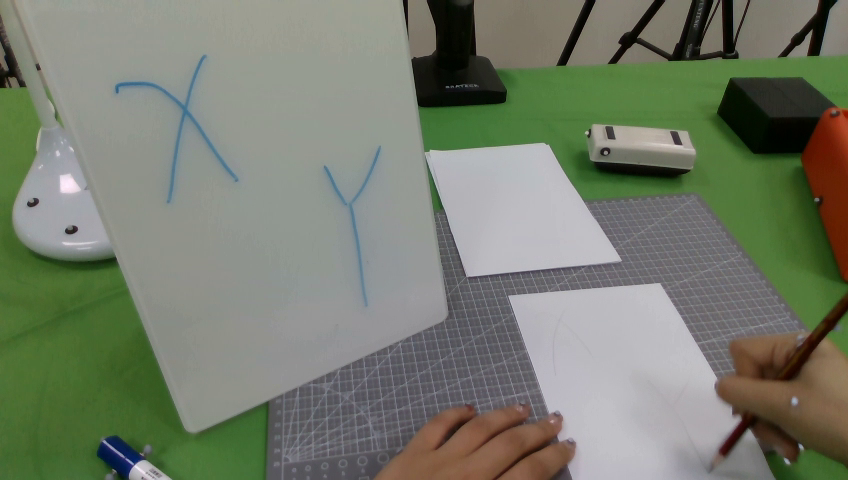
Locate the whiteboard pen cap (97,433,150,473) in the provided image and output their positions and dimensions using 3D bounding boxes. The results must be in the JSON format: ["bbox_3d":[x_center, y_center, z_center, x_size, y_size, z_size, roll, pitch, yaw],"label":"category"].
[{"bbox_3d":[-0.198,0.142,0.400,0.033,0.018,0.018,22,45,24],"label":"whiteboard pen cap"}]

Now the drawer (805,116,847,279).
[{"bbox_3d":[0.509,-0.032,0.599,0.194,0.074,0.210,11,42,10],"label":"drawer"}]

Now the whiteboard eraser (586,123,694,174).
[{"bbox_3d":[0.244,-0.103,0.691,0.112,0.042,0.055,6,43,3],"label":"whiteboard eraser"}]

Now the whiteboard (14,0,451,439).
[{"bbox_3d":[-0.124,-0.054,0.454,0.218,0.307,0.142,-21,27,-24],"label":"whiteboard"}]

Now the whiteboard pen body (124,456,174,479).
[{"bbox_3d":[-0.149,0.164,0.377,0.140,0.017,0.017,23,45,21],"label":"whiteboard pen body"}]

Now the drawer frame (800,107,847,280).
[{"bbox_3d":[0.510,-0.036,0.601,0.201,0.083,0.212,10,41,9],"label":"drawer frame"}]

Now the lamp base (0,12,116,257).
[{"bbox_3d":[-0.317,-0.101,0.545,0.178,0.182,0.160,22,45,24],"label":"lamp base"}]

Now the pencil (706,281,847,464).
[{"bbox_3d":[0.228,0.076,0.377,0.012,0.195,0.012,16,29,-9],"label":"pencil"}]
